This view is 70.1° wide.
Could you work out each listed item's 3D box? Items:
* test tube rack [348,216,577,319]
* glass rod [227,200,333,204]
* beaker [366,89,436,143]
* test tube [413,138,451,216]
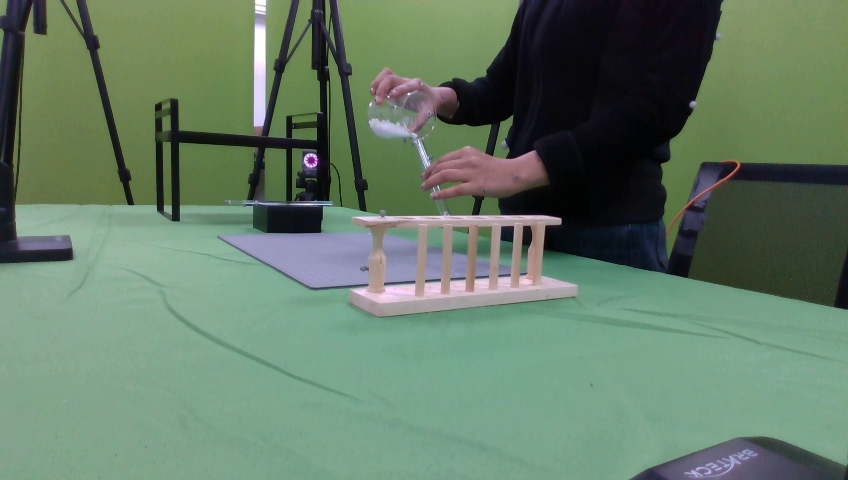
[{"bbox_3d":[0.048,0.021,0.619,0.244,0.085,0.066,-2,9,-31],"label":"test tube rack"},{"bbox_3d":[-0.268,-0.071,1.143,0.201,0.008,0.008,-1,8,-29],"label":"glass rod"},{"bbox_3d":[-0.040,-0.201,0.989,0.074,0.084,0.100,-7,12,-42],"label":"beaker"},{"bbox_3d":[0.014,-0.093,0.940,0.017,0.150,0.017,-18,-17,-6],"label":"test tube"}]
